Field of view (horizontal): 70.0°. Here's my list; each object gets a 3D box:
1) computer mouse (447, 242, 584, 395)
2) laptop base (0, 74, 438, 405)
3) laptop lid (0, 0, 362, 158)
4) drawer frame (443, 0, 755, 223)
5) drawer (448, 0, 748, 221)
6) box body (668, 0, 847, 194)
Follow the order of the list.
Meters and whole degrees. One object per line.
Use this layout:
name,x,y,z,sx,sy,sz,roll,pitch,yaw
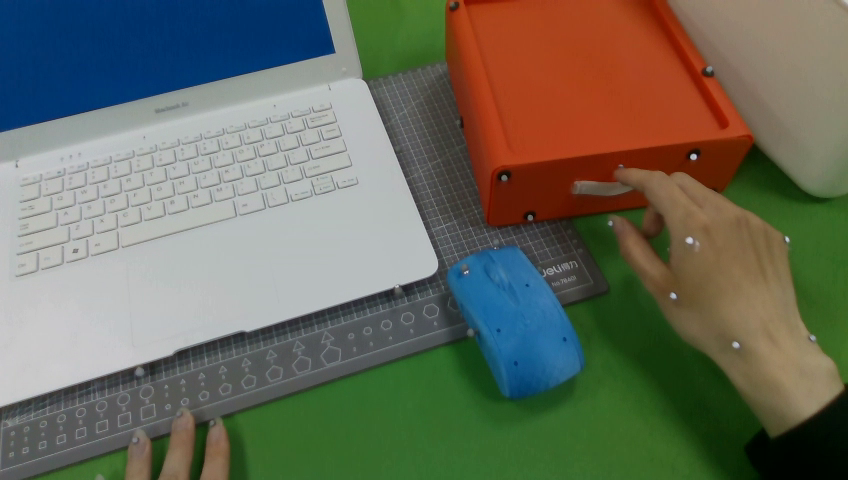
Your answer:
computer mouse,0.062,0.050,0.431,0.063,0.041,0.116,-20,56,-8
laptop base,-0.189,-0.017,0.500,0.355,0.023,0.233,-16,60,-9
laptop lid,-0.247,-0.210,0.510,0.357,0.243,0.013,-18,27,-8
drawer frame,0.131,-0.128,0.523,0.202,0.083,0.211,-9,55,-4
drawer,0.132,-0.126,0.522,0.195,0.074,0.209,-8,55,-4
box body,0.356,-0.238,0.541,0.254,0.162,0.360,-21,57,-11
